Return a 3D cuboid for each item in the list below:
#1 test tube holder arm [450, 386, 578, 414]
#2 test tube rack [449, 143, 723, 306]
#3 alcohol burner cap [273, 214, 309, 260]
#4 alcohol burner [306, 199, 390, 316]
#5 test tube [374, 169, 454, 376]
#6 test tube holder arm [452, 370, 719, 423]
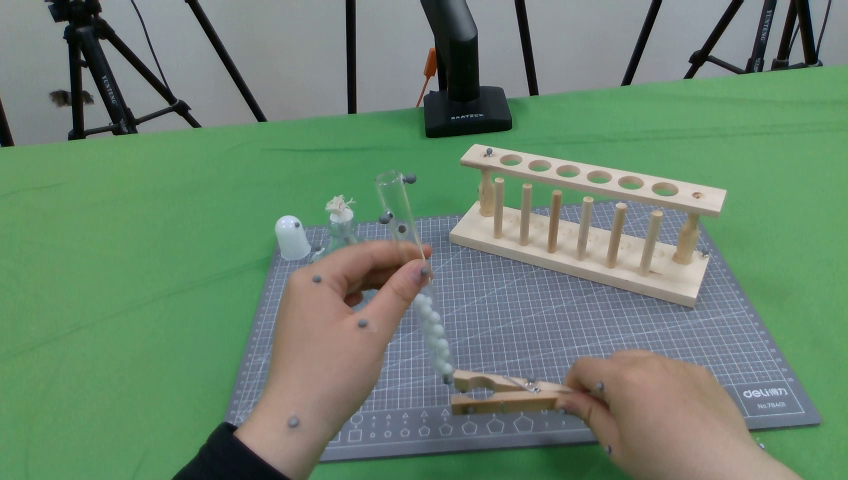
[{"bbox_3d":[0.063,0.112,0.425,0.088,0.015,0.010,-7,43,4],"label":"test tube holder arm"},{"bbox_3d":[0.142,-0.021,0.580,0.241,0.086,0.066,15,44,26],"label":"test tube rack"},{"bbox_3d":[-0.142,-0.006,0.638,0.034,0.048,0.033,-3,39,3],"label":"alcohol burner cap"},{"bbox_3d":[-0.071,0.011,0.548,0.078,0.120,0.077,-3,40,3],"label":"alcohol burner"},{"bbox_3d":[-0.004,0.026,0.368,0.017,0.151,0.017,-11,31,7],"label":"test tube"},{"bbox_3d":[0.107,0.108,0.420,0.178,0.015,0.013,3,46,14],"label":"test tube holder arm"}]
